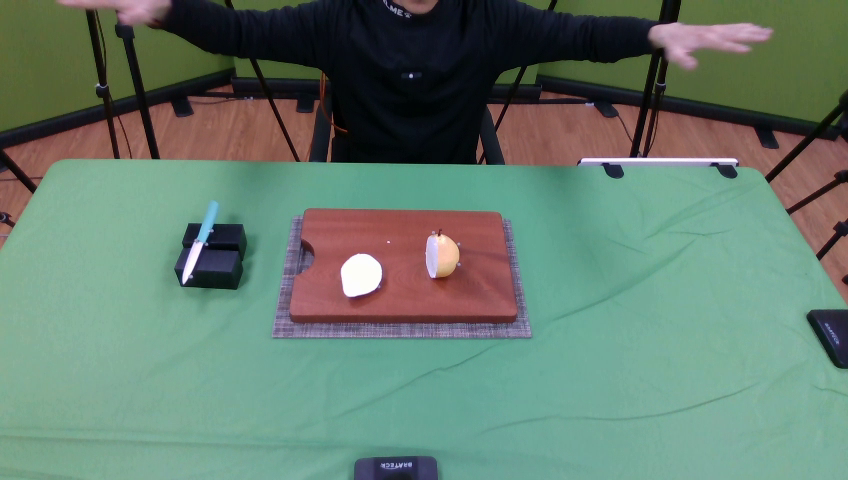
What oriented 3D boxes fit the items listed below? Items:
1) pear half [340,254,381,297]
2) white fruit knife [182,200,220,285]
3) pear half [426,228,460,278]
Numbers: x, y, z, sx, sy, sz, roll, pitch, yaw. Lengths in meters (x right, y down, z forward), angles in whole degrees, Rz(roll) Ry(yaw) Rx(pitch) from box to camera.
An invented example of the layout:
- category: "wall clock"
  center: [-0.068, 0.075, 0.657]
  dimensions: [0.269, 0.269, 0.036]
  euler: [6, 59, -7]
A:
- category: "pear half"
  center: [-0.116, 0.068, 1.074]
  dimensions: [0.070, 0.031, 0.088]
  euler: [31, 64, 4]
- category: "white fruit knife"
  center: [-0.405, 0.001, 1.103]
  dimensions: [0.027, 0.016, 0.206]
  euler: [-12, 47, 16]
- category: "pear half"
  center: [0.037, 0.016, 1.082]
  dimensions: [0.056, 0.110, 0.076]
  euler: [-13, 52, -15]
